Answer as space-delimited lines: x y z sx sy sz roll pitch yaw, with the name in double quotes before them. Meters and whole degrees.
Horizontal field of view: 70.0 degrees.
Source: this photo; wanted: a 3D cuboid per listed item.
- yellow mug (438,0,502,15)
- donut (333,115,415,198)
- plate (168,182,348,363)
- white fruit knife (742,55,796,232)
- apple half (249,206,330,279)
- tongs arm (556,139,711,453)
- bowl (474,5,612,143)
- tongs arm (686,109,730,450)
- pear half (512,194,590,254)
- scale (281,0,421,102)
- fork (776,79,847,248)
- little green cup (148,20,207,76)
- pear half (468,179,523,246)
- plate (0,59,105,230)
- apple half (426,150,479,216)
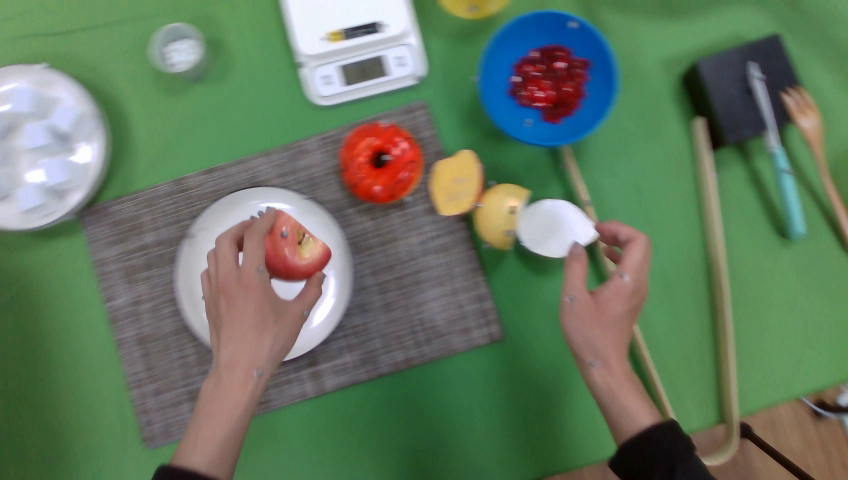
"yellow mug" 0.043 -0.337 0.714 0.130 0.064 0.100 40 89 5
"donut" -0.059 -0.097 0.709 0.099 0.048 0.099 0 87 5
"plate" -0.190 0.037 0.708 0.209 0.038 0.208 0 86 2
"white fruit knife" 0.384 -0.104 0.677 0.016 0.027 0.208 -20 100 1
"apple half" -0.143 0.011 0.614 0.081 0.074 0.053 39 62 -28
"tongs arm" 0.237 0.060 0.694 0.051 0.026 0.384 -18 86 -4
"bowl" 0.131 -0.178 0.694 0.151 0.077 0.151 0 87 3
"tongs arm" 0.321 0.042 0.696 0.028 0.028 0.386 -3 86 -6
"pear half" 0.148 -0.016 0.704 0.087 0.031 0.070 8 84 18
"scale" -0.094 -0.278 0.733 0.148 0.031 0.200 -14 86 2
"fork" 0.443 -0.083 0.680 0.028 0.018 0.208 -27 101 -2
"little green cup" -0.297 -0.230 0.735 0.061 0.039 0.061 0 85 3
"pear half" 0.077 -0.036 0.670 0.056 0.110 0.076 15 82 5
"plate" -0.485 -0.113 0.735 0.207 0.039 0.207 0 86 3
"apple half" 0.040 -0.066 0.708 0.080 0.033 0.081 14 110 43
